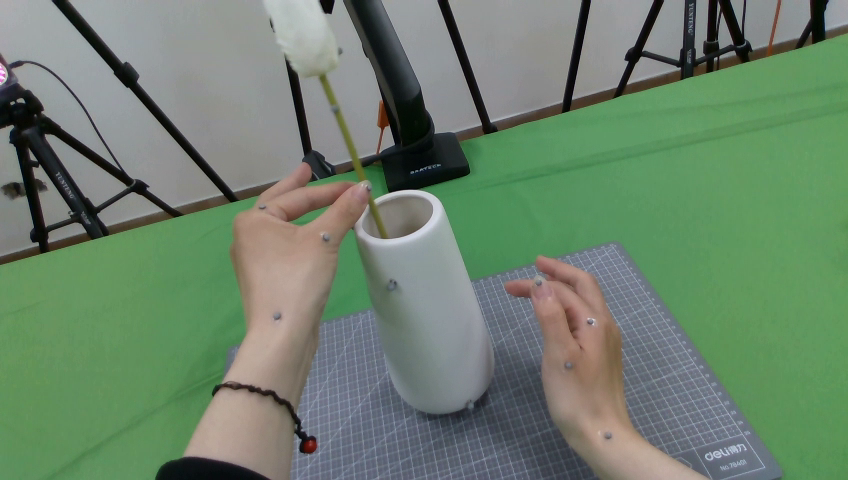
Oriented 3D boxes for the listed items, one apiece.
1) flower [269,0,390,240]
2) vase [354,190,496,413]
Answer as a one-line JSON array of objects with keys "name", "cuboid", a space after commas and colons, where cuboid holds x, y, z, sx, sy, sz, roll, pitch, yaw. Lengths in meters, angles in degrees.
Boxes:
[{"name": "flower", "cuboid": [-0.031, -0.012, 0.473, 0.038, 0.364, 0.043, -26, 21, -12]}, {"name": "vase", "cuboid": [0.002, 0.056, 0.514, 0.098, 0.202, 0.097, -10, 37, 8]}]
